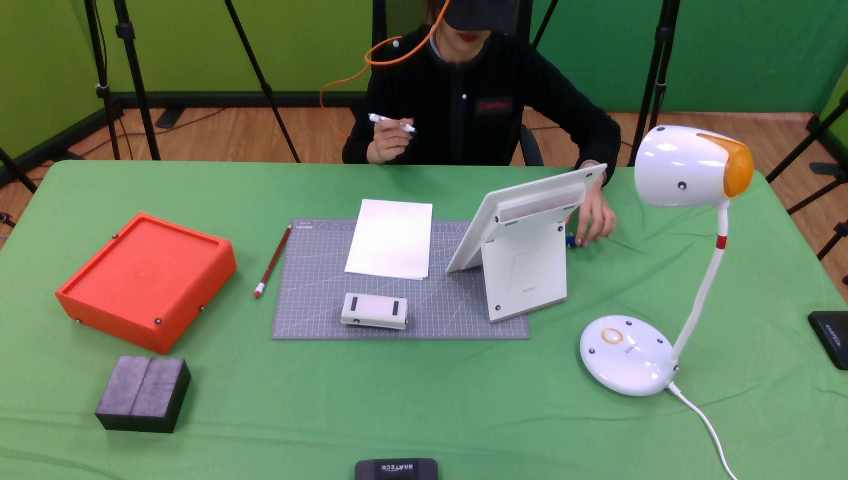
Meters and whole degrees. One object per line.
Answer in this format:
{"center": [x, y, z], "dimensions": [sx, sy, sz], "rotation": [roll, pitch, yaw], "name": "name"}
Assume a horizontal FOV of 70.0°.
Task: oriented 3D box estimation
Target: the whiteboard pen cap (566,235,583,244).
{"center": [0.303, -0.001, 1.222], "dimensions": [0.033, 0.018, 0.018], "rotation": [5, 46, 0], "name": "whiteboard pen cap"}

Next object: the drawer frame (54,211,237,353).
{"center": [-0.473, 0.067, 1.055], "dimensions": [0.201, 0.083, 0.212], "rotation": [17, 48, 11], "name": "drawer frame"}

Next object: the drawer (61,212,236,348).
{"center": [-0.473, 0.064, 1.060], "dimensions": [0.194, 0.073, 0.211], "rotation": [18, 48, 11], "name": "drawer"}

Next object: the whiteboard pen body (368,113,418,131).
{"center": [-0.065, -0.246, 1.271], "dimensions": [0.140, 0.017, 0.017], "rotation": [24, 48, 35], "name": "whiteboard pen body"}

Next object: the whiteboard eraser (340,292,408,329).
{"center": [-0.087, 0.125, 1.052], "dimensions": [0.113, 0.042, 0.055], "rotation": [5, 45, 1], "name": "whiteboard eraser"}

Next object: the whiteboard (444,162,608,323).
{"center": [0.186, 0.026, 1.028], "dimensions": [0.217, 0.306, 0.143], "rotation": [-14, 68, -18], "name": "whiteboard"}

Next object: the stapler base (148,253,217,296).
{"center": [-0.443, 0.059, 1.109], "dimensions": [0.130, 0.024, 0.041], "rotation": [24, 50, 11], "name": "stapler base"}

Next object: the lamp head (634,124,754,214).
{"center": [0.351, -0.089, 0.775], "dimensions": [0.112, 0.113, 0.122], "rotation": [-30, 30, -28], "name": "lamp head"}

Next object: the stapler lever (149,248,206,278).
{"center": [-0.443, 0.037, 1.084], "dimensions": [0.118, 0.040, 0.027], "rotation": [19, 49, 17], "name": "stapler lever"}

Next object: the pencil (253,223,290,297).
{"center": [-0.286, 0.033, 1.150], "dimensions": [0.012, 0.012, 0.193], "rotation": [9, 46, 4], "name": "pencil"}

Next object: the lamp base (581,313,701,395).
{"center": [0.361, 0.144, 0.972], "dimensions": [0.178, 0.181, 0.160], "rotation": [34, 53, 23], "name": "lamp base"}
